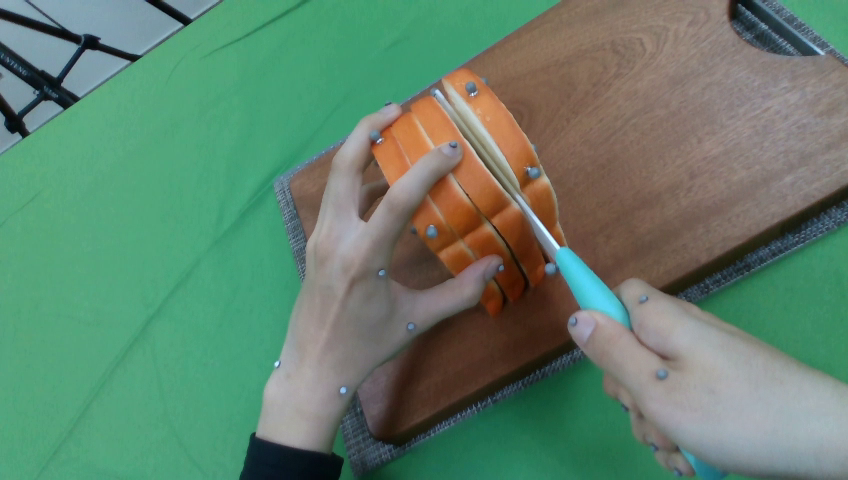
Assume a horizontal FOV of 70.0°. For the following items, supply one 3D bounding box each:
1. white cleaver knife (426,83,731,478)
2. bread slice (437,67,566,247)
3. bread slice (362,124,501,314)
[{"bbox_3d":[0.076,0.005,0.356,0.021,0.066,0.283,-34,61,5],"label":"white cleaver knife"},{"bbox_3d":[0.051,-0.050,0.391,0.019,0.133,0.104,-34,56,1],"label":"bread slice"},{"bbox_3d":[0.005,-0.019,0.397,0.018,0.136,0.106,-34,54,6],"label":"bread slice"}]
